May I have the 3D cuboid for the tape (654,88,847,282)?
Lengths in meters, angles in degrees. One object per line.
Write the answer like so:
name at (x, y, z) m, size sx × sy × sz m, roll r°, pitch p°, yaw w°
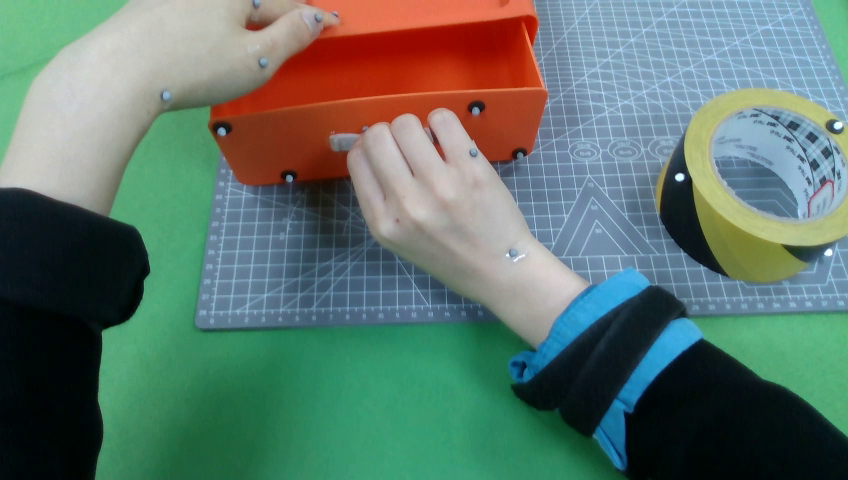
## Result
tape at (0.207, -0.034, 0.376) m, size 0.117 × 0.053 × 0.116 m, roll 0°, pitch 64°, yaw 1°

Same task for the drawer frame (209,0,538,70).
drawer frame at (-0.043, -0.195, 0.437) m, size 0.202 × 0.083 × 0.211 m, roll -8°, pitch 63°, yaw -4°

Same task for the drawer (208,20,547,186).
drawer at (-0.037, -0.148, 0.415) m, size 0.195 × 0.074 × 0.210 m, roll -7°, pitch 63°, yaw -3°
